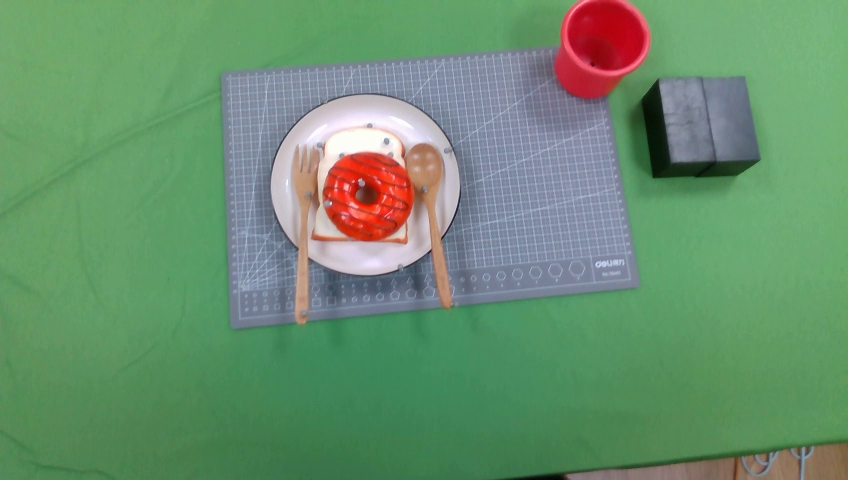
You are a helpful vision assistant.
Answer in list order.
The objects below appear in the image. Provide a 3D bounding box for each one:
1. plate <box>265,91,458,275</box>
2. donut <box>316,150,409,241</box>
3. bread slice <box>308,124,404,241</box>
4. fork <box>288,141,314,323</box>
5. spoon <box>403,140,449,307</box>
[{"bbox_3d":[-0.067,-0.061,0.669,0.209,0.038,0.208,1,78,-3],"label":"plate"},{"bbox_3d":[-0.064,-0.047,0.639,0.099,0.048,0.098,1,81,-5],"label":"donut"},{"bbox_3d":[-0.074,-0.065,0.672,0.105,0.019,0.131,1,79,-3],"label":"bread slice"},{"bbox_3d":[-0.132,-0.013,0.645,0.028,0.019,0.205,3,65,-16],"label":"fork"},{"bbox_3d":[0.006,-0.021,0.649,0.041,0.022,0.192,-8,66,1],"label":"spoon"}]
